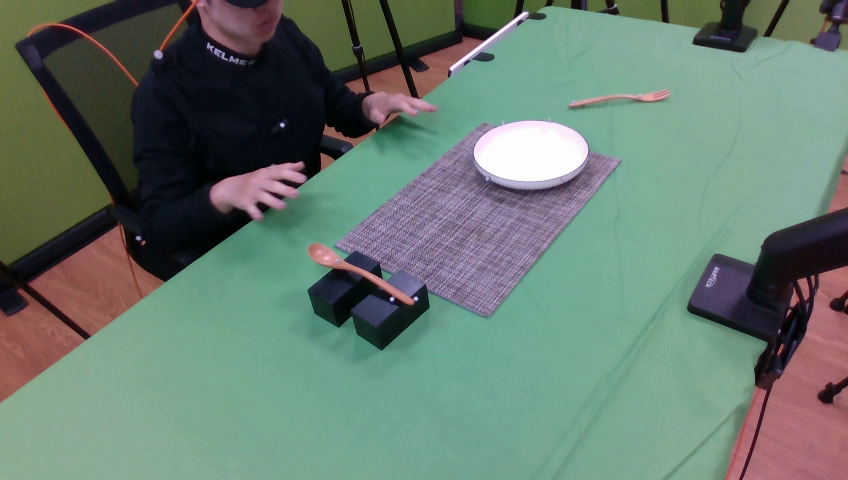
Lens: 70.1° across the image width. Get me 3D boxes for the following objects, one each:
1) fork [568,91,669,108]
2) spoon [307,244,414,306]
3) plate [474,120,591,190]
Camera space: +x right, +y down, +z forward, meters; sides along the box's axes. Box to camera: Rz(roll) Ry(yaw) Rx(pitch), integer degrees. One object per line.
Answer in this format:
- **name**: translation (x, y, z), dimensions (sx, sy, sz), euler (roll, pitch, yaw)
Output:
- **fork**: translation (0.402, -0.290, 1.252), dimensions (0.207, 0.019, 0.028), euler (-4, 47, 1)
- **spoon**: translation (-0.091, 0.048, 0.848), dimensions (0.192, 0.021, 0.042), euler (22, 26, 30)
- **plate**: translation (0.196, -0.151, 1.099), dimensions (0.207, 0.039, 0.206), euler (-4, 40, 4)
